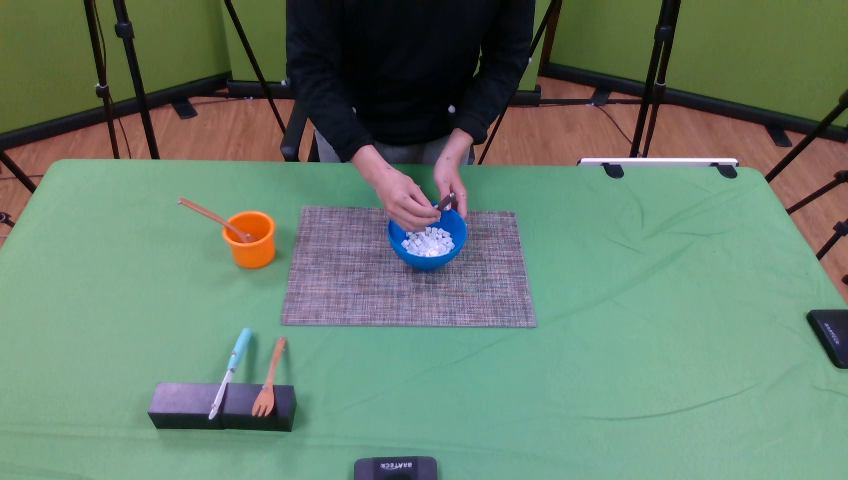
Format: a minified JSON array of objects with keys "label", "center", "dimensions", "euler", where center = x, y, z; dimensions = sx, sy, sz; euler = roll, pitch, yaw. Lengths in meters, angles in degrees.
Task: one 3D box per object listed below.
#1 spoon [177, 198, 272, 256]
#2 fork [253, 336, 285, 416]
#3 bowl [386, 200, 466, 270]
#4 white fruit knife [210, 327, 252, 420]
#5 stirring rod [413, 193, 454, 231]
[{"label":"spoon","center":[-0.361,-0.025,1.106],"dimensions":[0.021,0.195,0.041],"euler":[-32,37,28]},{"label":"fork","center":[-0.235,0.206,0.938],"dimensions":[0.028,0.019,0.206],"euler":[-3,26,-3]},{"label":"bowl","center":[0.002,0.003,1.150],"dimensions":[0.151,0.077,0.150],"euler":[2,46,-2]},{"label":"white fruit knife","center":[-0.298,0.200,0.937],"dimensions":[0.016,0.027,0.206],"euler":[0,30,0]},{"label":"stirring rod","center":[0.015,-0.049,1.106],"dimensions":[0.014,0.176,0.006],"euler":[12,66,-18]}]
